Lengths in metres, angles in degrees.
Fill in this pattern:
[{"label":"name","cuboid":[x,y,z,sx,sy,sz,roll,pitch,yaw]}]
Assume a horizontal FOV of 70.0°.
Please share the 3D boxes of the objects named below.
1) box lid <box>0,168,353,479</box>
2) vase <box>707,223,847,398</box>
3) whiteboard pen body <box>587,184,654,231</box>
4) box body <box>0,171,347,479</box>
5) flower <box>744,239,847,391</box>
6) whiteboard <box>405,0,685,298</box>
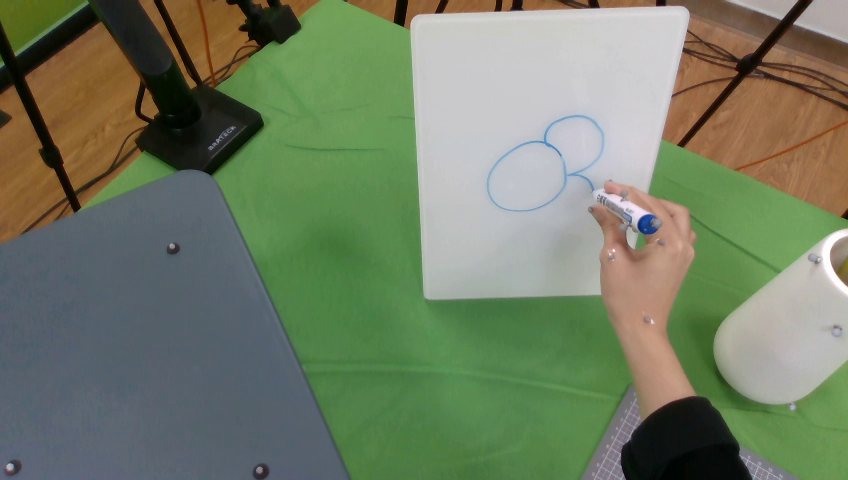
[{"label":"box lid","cuboid":[-0.229,0.114,0.445,0.263,0.015,0.368,-25,62,-14]},{"label":"vase","cuboid":[0.326,0.065,0.529,0.098,0.202,0.097,-1,57,2]},{"label":"whiteboard pen body","cuboid":[0.157,-0.031,0.501,0.017,0.017,0.140,-4,15,-1]},{"label":"box body","cuboid":[-0.226,0.155,0.508,0.254,0.162,0.360,-26,62,-13]},{"label":"flower","cuboid":[0.325,0.009,0.466,0.044,0.365,0.038,23,45,18]},{"label":"whiteboard","cuboid":[0.098,-0.102,0.609,0.217,0.308,0.142,-1,40,1]}]
